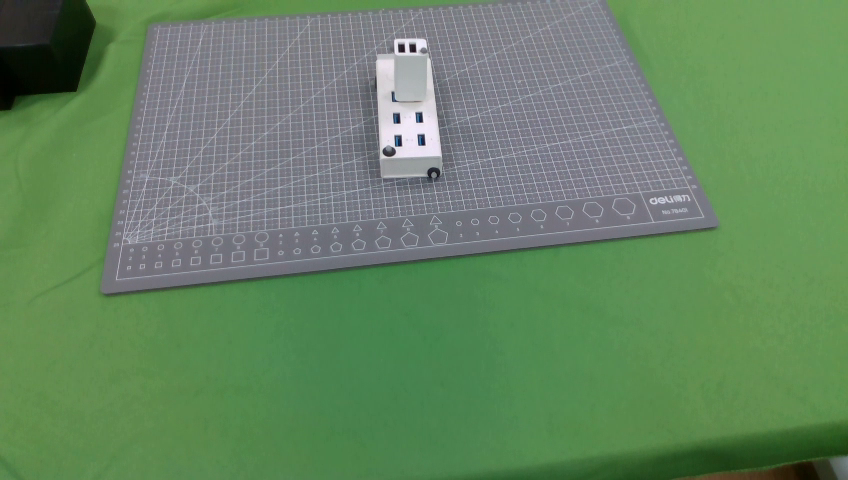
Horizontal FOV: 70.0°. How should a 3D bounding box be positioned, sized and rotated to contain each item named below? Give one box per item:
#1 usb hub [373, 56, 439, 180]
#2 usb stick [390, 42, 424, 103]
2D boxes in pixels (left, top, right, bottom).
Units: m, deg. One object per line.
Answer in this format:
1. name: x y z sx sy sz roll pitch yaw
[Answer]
1. usb hub: -0.017 -0.105 0.505 0.049 0.025 0.124 -3 55 -3
2. usb stick: -0.013 -0.128 0.485 0.027 0.059 0.021 -6 55 -2
